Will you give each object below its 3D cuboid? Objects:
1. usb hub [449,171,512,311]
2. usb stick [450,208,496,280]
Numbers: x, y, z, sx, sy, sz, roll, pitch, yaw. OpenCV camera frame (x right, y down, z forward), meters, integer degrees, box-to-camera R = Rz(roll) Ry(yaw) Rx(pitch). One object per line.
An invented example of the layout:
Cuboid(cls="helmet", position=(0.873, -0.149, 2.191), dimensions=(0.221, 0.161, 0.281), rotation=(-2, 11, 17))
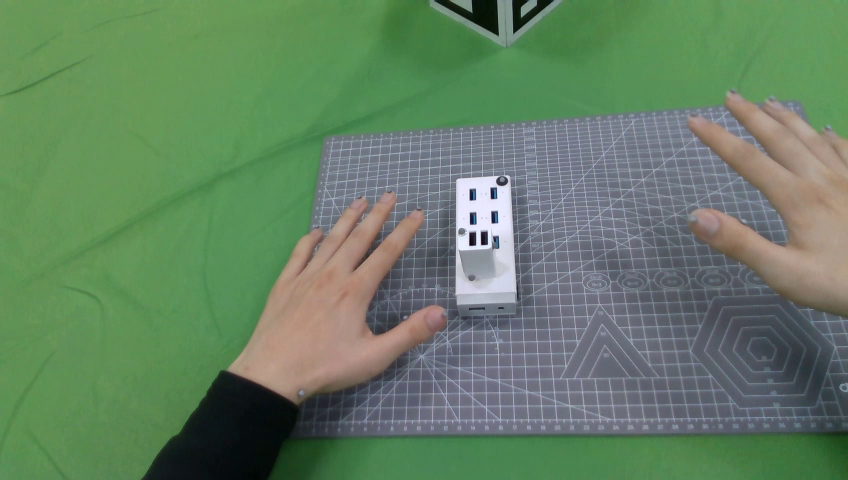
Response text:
Cuboid(cls="usb hub", position=(0.047, -0.001, 0.505), dimensions=(0.049, 0.025, 0.124), rotation=(-2, 58, 6))
Cuboid(cls="usb stick", position=(0.037, 0.002, 0.454), dimensions=(0.027, 0.060, 0.021), rotation=(-25, 48, -10))
